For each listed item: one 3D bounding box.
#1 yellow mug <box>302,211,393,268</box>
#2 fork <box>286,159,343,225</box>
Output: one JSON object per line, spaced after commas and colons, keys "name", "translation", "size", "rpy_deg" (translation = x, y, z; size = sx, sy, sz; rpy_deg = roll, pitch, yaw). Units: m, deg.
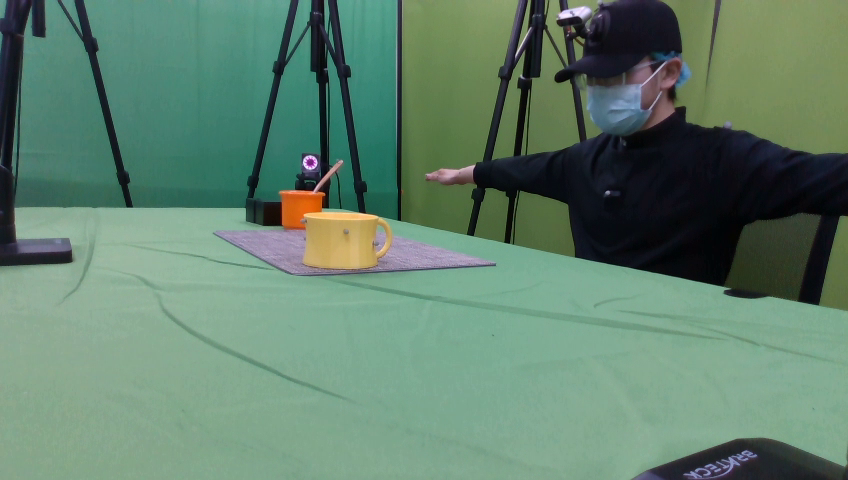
{"name": "yellow mug", "translation": [-0.098, -0.003, 0.810], "size": [0.131, 0.064, 0.099], "rpy_deg": [-2, 8, -37]}
{"name": "fork", "translation": [-0.222, -0.102, 1.252], "size": [0.028, 0.019, 0.207], "rpy_deg": [8, 52, 30]}
